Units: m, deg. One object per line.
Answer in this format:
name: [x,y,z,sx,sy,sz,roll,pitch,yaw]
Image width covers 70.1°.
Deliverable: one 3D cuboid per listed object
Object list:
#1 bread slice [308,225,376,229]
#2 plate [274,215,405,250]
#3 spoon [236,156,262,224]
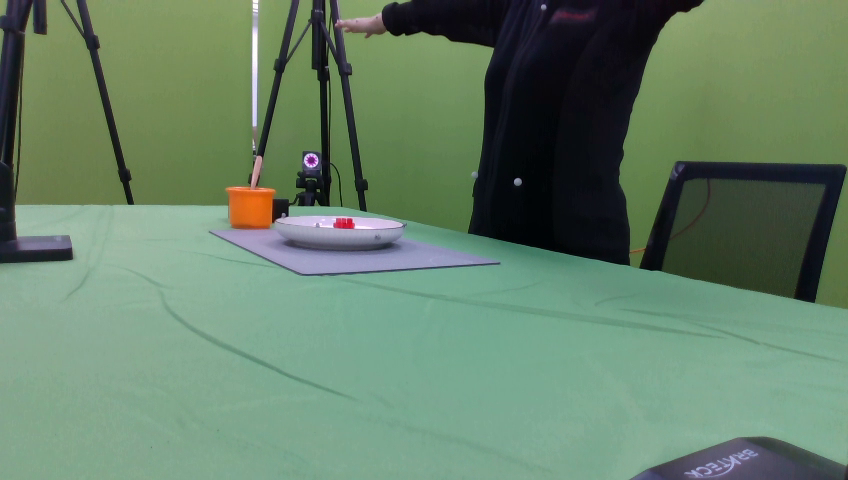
bread slice: [-0.133,-0.011,0.974,0.135,0.018,0.106,-3,8,-33]
plate: [-0.136,-0.013,0.981,0.209,0.038,0.209,2,7,0]
spoon: [-0.338,-0.102,1.197,0.042,0.193,0.021,1,-37,-4]
